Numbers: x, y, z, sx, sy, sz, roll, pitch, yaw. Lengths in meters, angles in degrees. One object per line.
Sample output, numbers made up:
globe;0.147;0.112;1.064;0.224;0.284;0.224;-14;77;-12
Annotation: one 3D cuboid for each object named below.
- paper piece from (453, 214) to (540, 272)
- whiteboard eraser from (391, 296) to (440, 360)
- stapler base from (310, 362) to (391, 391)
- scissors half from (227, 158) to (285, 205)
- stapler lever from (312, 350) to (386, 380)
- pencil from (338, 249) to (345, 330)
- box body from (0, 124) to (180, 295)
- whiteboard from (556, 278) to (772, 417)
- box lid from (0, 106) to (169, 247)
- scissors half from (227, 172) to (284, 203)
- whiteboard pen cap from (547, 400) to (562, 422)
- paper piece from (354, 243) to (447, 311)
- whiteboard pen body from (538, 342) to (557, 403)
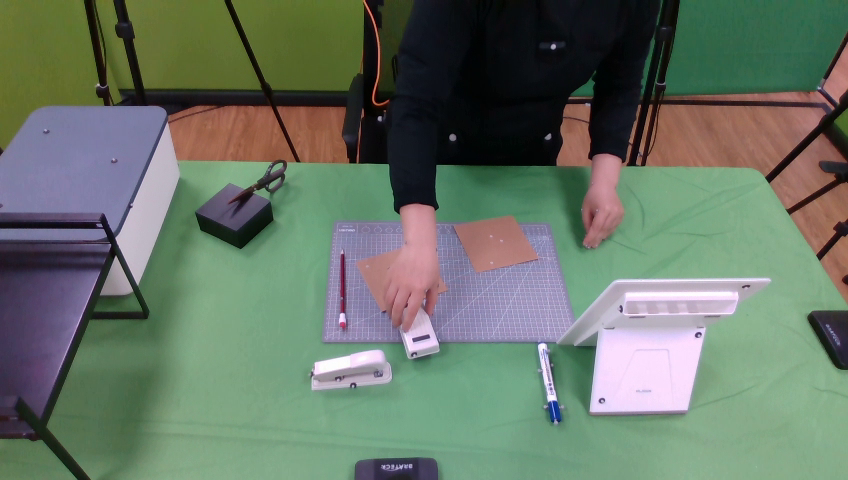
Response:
paper piece;0.142;0.002;1.212;0.135;0.004;0.135;-11;48;-14
whiteboard eraser;-0.016;0.150;1.034;0.056;0.042;0.112;-12;47;-14
stapler base;-0.119;0.215;0.981;0.131;0.024;0.041;-5;44;-7
scissors half;-0.337;-0.117;1.218;0.013;0.040;0.175;25;47;14
stapler lever;-0.120;0.198;0.963;0.118;0.040;0.026;-4;44;-8
pencil;-0.153;0.085;1.107;0.012;0.012;0.192;-3;45;-7
box body;-0.628;-0.075;1.122;0.254;0.161;0.361;1;46;-4
whiteboard;0.347;0.174;0.903;0.217;0.306;0.143;1;65;-4
box lid;-0.624;-0.125;1.067;0.263;0.015;0.369;0;46;-3
scissors half;-0.340;-0.101;1.231;0.013;0.040;0.175;21;28;17
whiteboard pen cap;0.205;0.269;0.956;0.018;0.018;0.033;-1;48;-5
paper piece;-0.046;0.066;1.137;0.136;0.009;0.137;-14;47;-22
whiteboard pen body;0.205;0.228;0.997;0.017;0.017;0.140;1;46;-3
